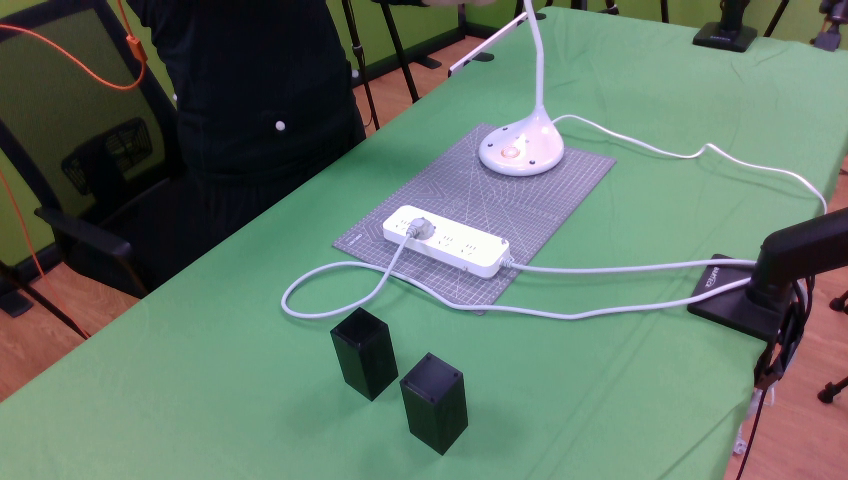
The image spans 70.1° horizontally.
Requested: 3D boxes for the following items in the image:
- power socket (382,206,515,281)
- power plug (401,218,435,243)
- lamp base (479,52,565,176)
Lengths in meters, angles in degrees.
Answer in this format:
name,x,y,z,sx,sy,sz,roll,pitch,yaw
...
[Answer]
name,x,y,z,sx,sy,sz,roll,pitch,yaw
power socket,0.032,0.002,0.950,0.225,0.033,0.072,21,49,29
power plug,-0.014,-0.006,0.937,0.073,0.053,0.035,-37,47,-26
lamp base,0.181,-0.235,1.094,0.159,0.181,0.179,18,44,28
